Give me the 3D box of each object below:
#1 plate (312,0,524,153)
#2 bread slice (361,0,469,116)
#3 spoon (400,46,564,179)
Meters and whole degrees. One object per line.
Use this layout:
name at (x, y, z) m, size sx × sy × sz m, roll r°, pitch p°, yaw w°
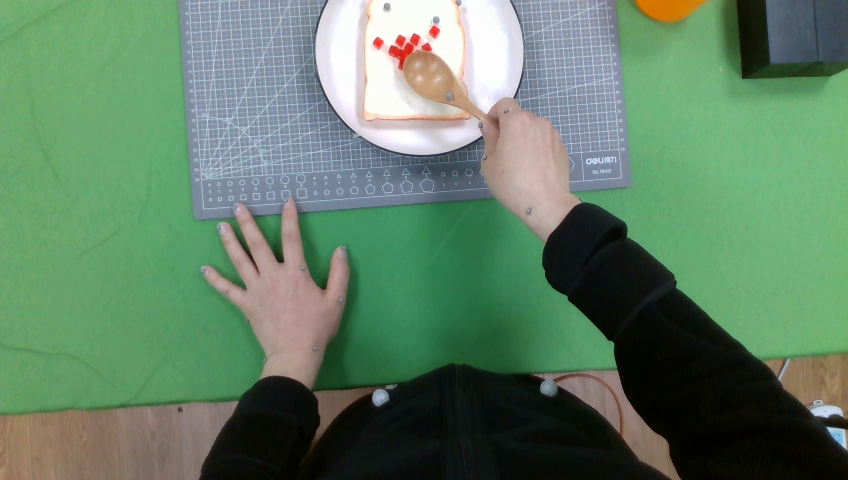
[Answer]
plate at (-0.005, -0.189, 0.609) m, size 0.209 × 0.038 × 0.209 m, roll 0°, pitch 88°, yaw -3°
bread slice at (-0.013, -0.190, 0.610) m, size 0.107 × 0.018 × 0.134 m, roll -4°, pitch 88°, yaw -4°
spoon at (0.053, -0.118, 0.569) m, size 0.192 × 0.022 × 0.041 m, roll 41°, pitch 88°, yaw 14°
